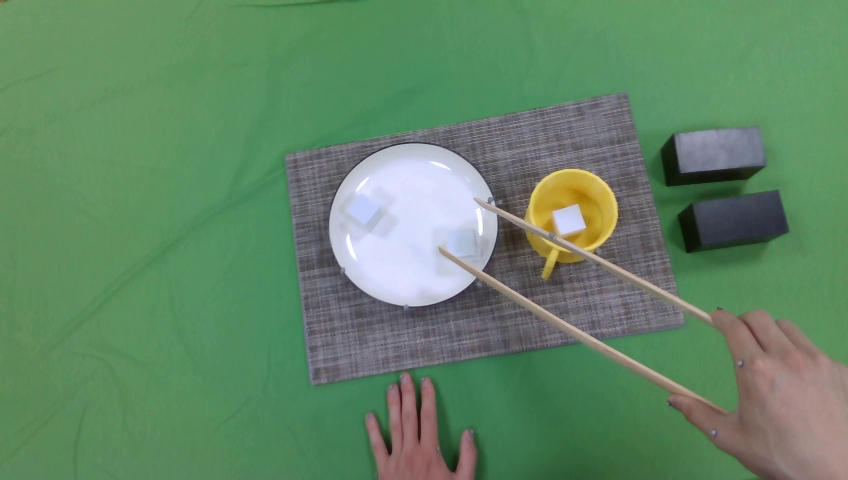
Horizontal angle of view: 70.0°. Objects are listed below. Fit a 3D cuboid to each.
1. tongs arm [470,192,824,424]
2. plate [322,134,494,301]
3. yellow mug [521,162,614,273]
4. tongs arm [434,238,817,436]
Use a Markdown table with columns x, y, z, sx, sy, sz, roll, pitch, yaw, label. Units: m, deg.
| x | y | z | sx | sy | sz | roll | pitch | yaw | label |
| --- | --- | --- | --- | --- | --- | --- | --- | --- | --- |
| 0.170 | 0.040 | 0.561 | 0.381 | 0.027 | 0.050 | 30 | 79 | 41 | tongs arm |
| -0.019 | -0.026 | 0.743 | 0.207 | 0.039 | 0.206 | -1 | 79 | 4 | plate |
| 0.162 | -0.021 | 0.714 | 0.100 | 0.064 | 0.130 | 21 | 81 | 8 | yellow mug |
| 0.145 | 0.072 | 0.557 | 0.383 | 0.028 | 0.028 | 28 | 75 | 41 | tongs arm |
